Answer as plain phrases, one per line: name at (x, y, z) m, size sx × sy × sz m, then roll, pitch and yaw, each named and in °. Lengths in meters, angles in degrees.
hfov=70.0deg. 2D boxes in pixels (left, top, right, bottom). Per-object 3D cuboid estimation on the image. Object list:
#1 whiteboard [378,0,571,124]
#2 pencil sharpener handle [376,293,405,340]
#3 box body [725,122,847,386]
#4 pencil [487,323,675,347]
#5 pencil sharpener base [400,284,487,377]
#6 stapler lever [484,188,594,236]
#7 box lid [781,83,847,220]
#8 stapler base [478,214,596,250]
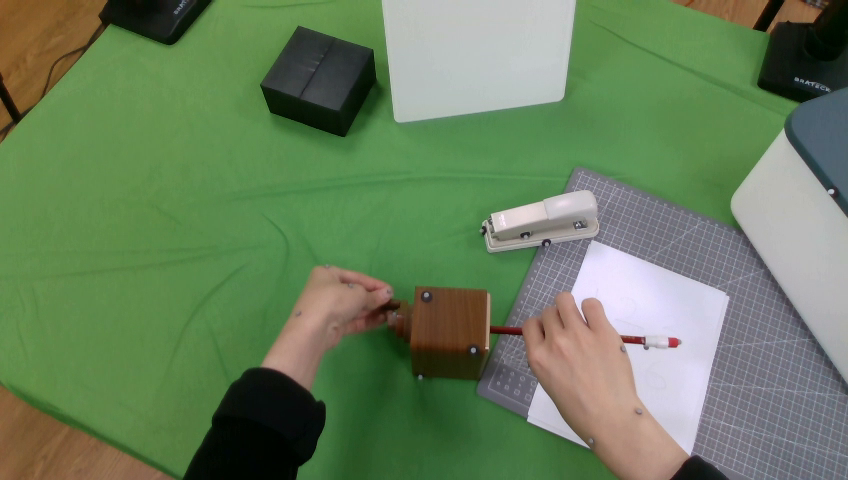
whiteboard at (0.048, -0.315, 0.695) m, size 0.217 × 0.308 × 0.142 m, roll -8°, pitch 45°, yaw -4°
pencil sharpener handle at (-0.033, 0.068, 0.568) m, size 0.030 × 0.036 × 0.067 m, roll 3°, pitch 20°, yaw 2°
box body at (0.510, 0.023, 0.587) m, size 0.254 × 0.161 × 0.361 m, roll -20°, pitch 66°, yaw -11°
pencil at (0.126, 0.084, 0.547) m, size 0.194 × 0.012 × 0.012 m, roll 4°, pitch 64°, yaw 5°
pencil sharpener base at (0.017, 0.089, 0.578) m, size 0.077 × 0.108 × 0.061 m, roll 3°, pitch 65°, yaw 1°
stapler lever at (0.125, -0.030, 0.654) m, size 0.118 × 0.040 × 0.026 m, roll -9°, pitch 61°, yaw -2°
box lid at (0.511, -0.011, 0.521) m, size 0.263 × 0.015 × 0.368 m, roll -20°, pitch 67°, yaw -11°
stapler base at (0.127, -0.020, 0.676) m, size 0.130 × 0.024 × 0.041 m, roll -9°, pitch 61°, yaw -2°
